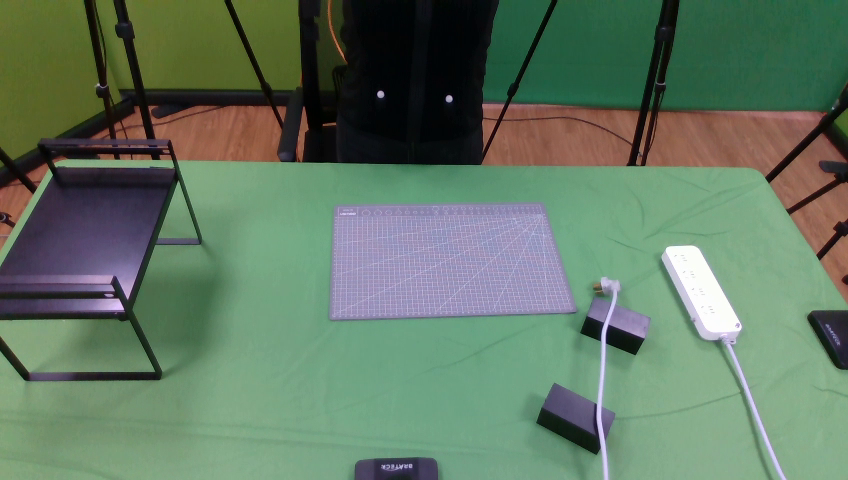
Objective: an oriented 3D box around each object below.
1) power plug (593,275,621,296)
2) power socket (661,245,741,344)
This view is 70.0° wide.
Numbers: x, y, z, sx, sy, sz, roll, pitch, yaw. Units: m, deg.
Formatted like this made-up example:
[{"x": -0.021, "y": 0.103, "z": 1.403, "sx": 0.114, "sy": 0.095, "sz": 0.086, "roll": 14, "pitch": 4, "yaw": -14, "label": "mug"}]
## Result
[{"x": 0.332, "y": 0.085, "z": 1.115, "sx": 0.052, "sy": 0.035, "sz": 0.073, "roll": -18, "pitch": -5, "yaw": 30, "label": "power plug"}, {"x": 0.515, "y": 0.094, "z": 1.138, "sx": 0.072, "sy": 0.033, "sz": 0.225, "roll": -3, "pitch": 47, "yaw": -5, "label": "power socket"}]
